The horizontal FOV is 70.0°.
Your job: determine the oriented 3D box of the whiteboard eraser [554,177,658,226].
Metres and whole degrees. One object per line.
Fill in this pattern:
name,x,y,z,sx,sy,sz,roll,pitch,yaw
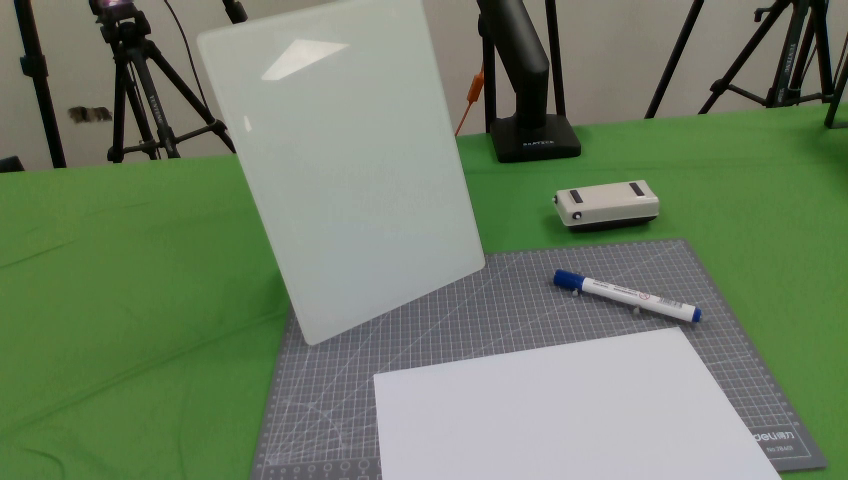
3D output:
whiteboard eraser,0.218,-0.045,0.729,0.113,0.042,0.055,-6,39,-2

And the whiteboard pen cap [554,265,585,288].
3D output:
whiteboard pen cap,0.155,0.039,0.638,0.033,0.018,0.018,18,42,25

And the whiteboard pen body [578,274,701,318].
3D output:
whiteboard pen body,0.204,0.053,0.611,0.140,0.017,0.017,15,41,27

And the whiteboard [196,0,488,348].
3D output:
whiteboard,-0.089,-0.083,0.648,0.217,0.307,0.142,-23,19,-21
